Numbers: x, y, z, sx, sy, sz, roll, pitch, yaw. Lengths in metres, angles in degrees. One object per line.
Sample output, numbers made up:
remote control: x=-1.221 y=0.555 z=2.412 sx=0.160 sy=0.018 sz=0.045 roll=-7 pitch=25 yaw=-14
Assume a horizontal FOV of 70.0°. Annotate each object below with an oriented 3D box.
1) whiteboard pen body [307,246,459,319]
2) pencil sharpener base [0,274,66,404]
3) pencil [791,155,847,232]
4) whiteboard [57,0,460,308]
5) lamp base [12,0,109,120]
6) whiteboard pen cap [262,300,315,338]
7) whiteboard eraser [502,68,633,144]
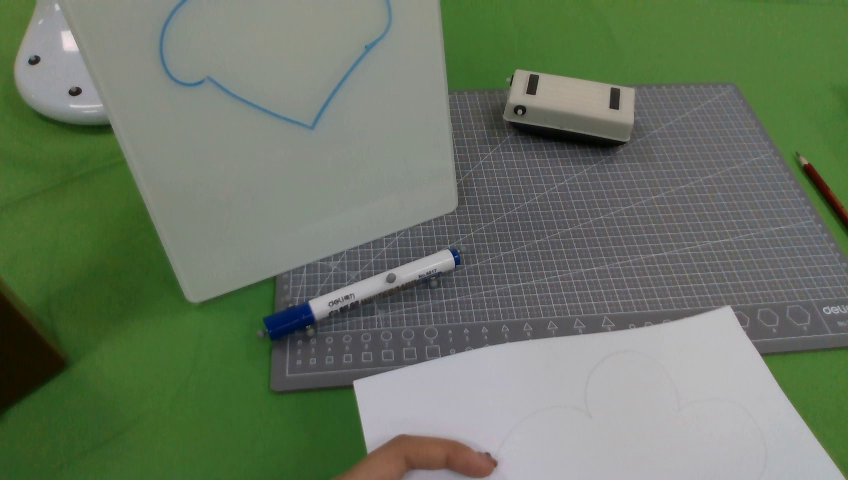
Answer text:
whiteboard pen body: x=-0.039 y=0.033 z=0.429 sx=0.141 sy=0.017 sz=0.017 roll=-20 pitch=56 yaw=-17
pencil sharpener base: x=-0.275 y=0.051 z=0.349 sx=0.061 sy=0.108 sz=0.076 roll=37 pitch=59 yaw=22
pencil: x=0.358 y=-0.006 z=0.504 sx=0.012 sy=0.012 sz=0.192 roll=-6 pitch=51 yaw=-8
whiteboard: x=-0.112 y=-0.145 z=0.423 sx=0.217 sy=0.308 sz=0.142 roll=-20 pitch=37 yaw=-17
lamp base: x=-0.299 y=-0.220 z=0.508 sx=0.178 sy=0.182 sz=0.160 roll=30 pitch=56 yaw=21
whiteboard pen cap: x=-0.091 y=0.053 z=0.411 sx=0.033 sy=0.018 sz=0.018 roll=-21 pitch=57 yaw=-18
whiteboard eraser: x=0.130 y=-0.120 z=0.548 sx=0.112 sy=0.042 sz=0.055 roll=12 pitch=53 yaw=5
